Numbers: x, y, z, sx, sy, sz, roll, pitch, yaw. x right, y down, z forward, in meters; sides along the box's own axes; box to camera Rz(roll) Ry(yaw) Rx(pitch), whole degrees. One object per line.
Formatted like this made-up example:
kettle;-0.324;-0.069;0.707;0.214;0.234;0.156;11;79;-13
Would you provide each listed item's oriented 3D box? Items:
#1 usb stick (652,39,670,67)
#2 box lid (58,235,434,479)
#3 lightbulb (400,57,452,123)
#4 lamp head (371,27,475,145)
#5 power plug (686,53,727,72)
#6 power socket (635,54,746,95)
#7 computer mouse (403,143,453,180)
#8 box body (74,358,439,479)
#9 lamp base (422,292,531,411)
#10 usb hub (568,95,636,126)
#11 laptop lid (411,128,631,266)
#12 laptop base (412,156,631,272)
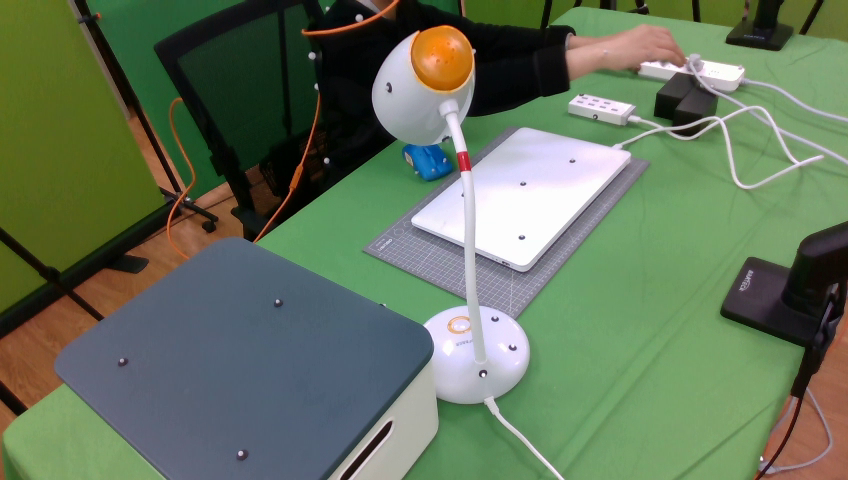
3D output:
usb stick;0.432;-0.346;1.103;0.021;0.027;0.059;-24;43;40
box lid;-0.198;0.123;0.653;0.368;0.015;0.264;22;49;32
lightbulb;0.004;-0.169;0.668;0.059;0.108;0.059;1;79;-3
lamp head;0.007;-0.167;0.644;0.113;0.112;0.122;-22;2;-14
power plug;0.584;-0.360;1.260;0.072;0.053;0.035;15;55;17
power socket;0.564;-0.357;1.293;0.225;0.033;0.072;24;51;33
computer mouse;0.006;-0.159;1.165;0.063;0.041;0.116;-21;45;-16
box body;-0.189;0.178;0.702;0.361;0.161;0.255;22;49;32
lamp base;0.055;0.095;0.740;0.161;0.181;0.177;-19;43;-11
usb hub;0.360;-0.263;1.228;0.124;0.025;0.049;24;49;33
laptop lid;0.173;-0.093;1.049;0.239;0.013;0.358;24;49;36
laptop base;0.176;-0.084;1.056;0.233;0.023;0.355;21;48;36
